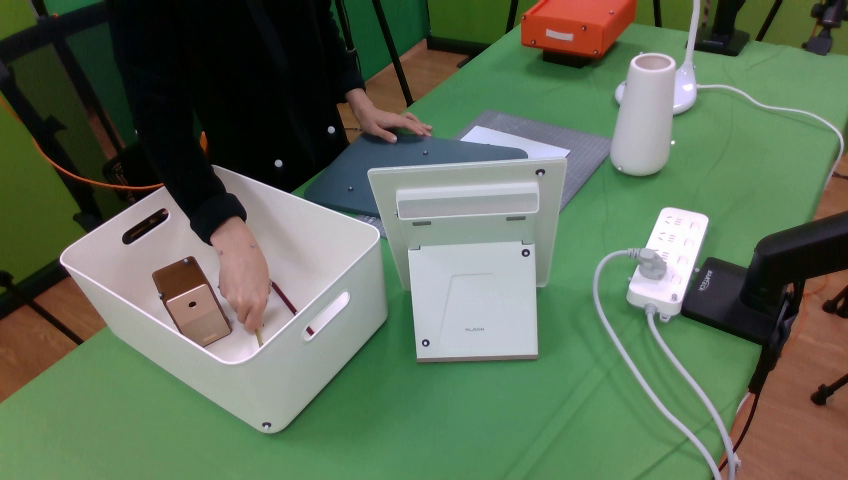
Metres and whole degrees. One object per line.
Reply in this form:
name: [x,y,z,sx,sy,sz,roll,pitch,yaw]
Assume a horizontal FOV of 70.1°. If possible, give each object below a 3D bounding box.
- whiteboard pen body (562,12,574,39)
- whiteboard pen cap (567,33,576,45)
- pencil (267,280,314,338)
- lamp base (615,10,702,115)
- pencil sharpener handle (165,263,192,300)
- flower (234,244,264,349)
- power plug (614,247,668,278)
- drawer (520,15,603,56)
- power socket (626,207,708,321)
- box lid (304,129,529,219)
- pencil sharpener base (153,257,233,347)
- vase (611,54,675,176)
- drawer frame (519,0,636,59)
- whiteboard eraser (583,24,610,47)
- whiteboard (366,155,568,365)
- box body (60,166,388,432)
whiteboard pen body: [0.341,-0.506,1.430,0.017,0.017,0.140,-2,42,6]
whiteboard pen cap: [0.339,-0.463,1.390,0.018,0.018,0.033,-2,44,5]
pencil: [-0.189,0.106,0.879,0.012,0.012,0.192,-28,42,-23]
lamp base: [0.484,-0.364,1.211,0.180,0.181,0.159,-15,41,-14]
pencil sharpener handle: [-0.353,0.054,0.868,0.036,0.068,0.030,-18,40,-28]
flower: [-0.244,0.106,0.868,0.044,0.038,0.358,6,31,-31]
power plug: [0.306,0.031,0.851,0.072,0.053,0.035,24,49,33]
drawer: [0.359,-0.517,1.417,0.193,0.073,0.212,20,47,29]
power socket: [0.359,0.025,0.886,0.072,0.033,0.227,16,46,26]
box lid: [-0.010,-0.117,1.122,0.369,0.015,0.263,11,44,22]
pencil sharpener base: [-0.322,0.088,0.843,0.061,0.107,0.076,-27,44,-20]
vase: [0.377,-0.209,1.031,0.098,0.201,0.097,-3,40,3]
drawer frame: [0.362,-0.518,1.423,0.200,0.083,0.214,19,48,29]
whiteboard eraser: [0.407,-0.479,1.423,0.055,0.042,0.113,-3,9,20]
whiteboard: [0.059,0.050,0.738,0.217,0.307,0.143,-2,60,5]
box body: [-0.256,0.065,0.827,0.361,0.161,0.255,20,48,29]
